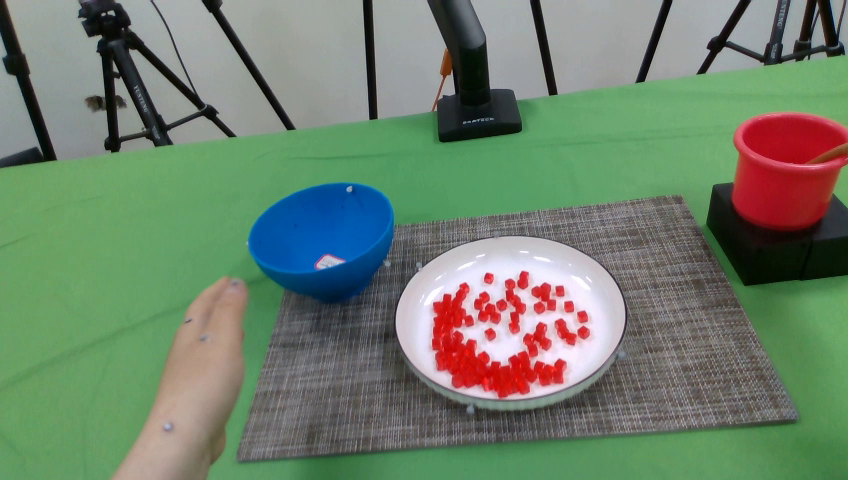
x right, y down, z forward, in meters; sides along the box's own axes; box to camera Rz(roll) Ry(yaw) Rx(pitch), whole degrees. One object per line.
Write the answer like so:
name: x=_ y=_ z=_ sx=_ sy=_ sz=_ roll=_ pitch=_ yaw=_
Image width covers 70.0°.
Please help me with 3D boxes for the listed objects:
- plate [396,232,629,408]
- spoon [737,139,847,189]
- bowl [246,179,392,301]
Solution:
plate: x=0.079 y=0.071 z=0.558 sx=0.207 sy=0.039 sz=0.205 roll=-6 pitch=39 yaw=6
spoon: x=0.349 y=-0.073 z=0.513 sx=0.041 sy=0.193 sz=0.021 roll=-29 pitch=88 yaw=-21
bowl: x=-0.101 y=0.010 z=0.638 sx=0.151 sy=0.077 sz=0.150 roll=-6 pitch=39 yaw=6
